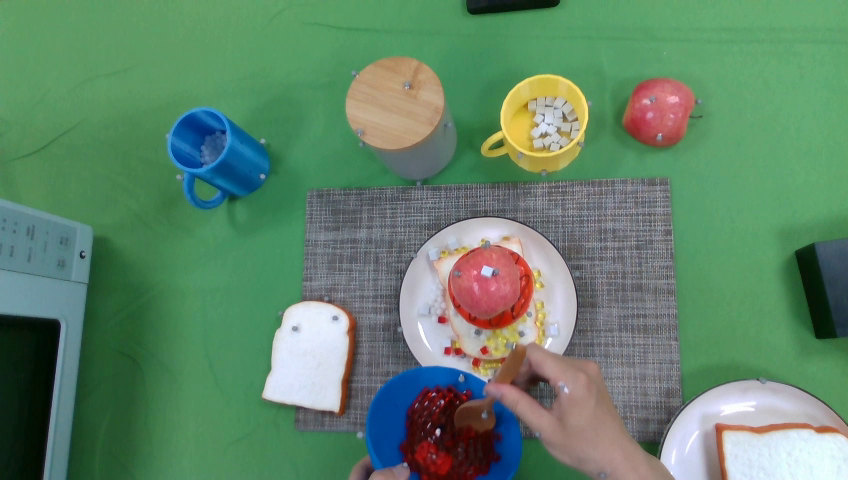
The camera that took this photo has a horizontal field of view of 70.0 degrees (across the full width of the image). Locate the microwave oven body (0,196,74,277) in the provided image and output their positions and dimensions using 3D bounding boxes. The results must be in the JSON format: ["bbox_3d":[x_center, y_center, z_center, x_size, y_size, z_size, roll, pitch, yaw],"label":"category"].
[{"bbox_3d":[-0.630,0.168,0.698,0.325,0.261,0.440,-1,80,10],"label":"microwave oven body"}]

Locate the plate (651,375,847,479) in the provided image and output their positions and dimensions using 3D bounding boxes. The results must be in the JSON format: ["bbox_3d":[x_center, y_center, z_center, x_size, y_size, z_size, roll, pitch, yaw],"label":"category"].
[{"bbox_3d":[0.344,0.246,0.632,0.209,0.038,0.208,-2,80,10],"label":"plate"}]

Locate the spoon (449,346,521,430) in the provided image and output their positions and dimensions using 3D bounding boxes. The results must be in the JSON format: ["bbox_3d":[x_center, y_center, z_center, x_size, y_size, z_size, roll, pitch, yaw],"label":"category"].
[{"bbox_3d":[0.057,0.138,0.545,0.041,0.195,0.021,17,59,0],"label":"spoon"}]

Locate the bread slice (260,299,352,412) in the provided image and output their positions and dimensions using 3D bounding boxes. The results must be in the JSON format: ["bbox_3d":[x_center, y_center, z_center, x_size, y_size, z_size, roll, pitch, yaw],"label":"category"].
[{"bbox_3d":[-0.143,0.138,0.745,0.104,0.019,0.131,7,83,10],"label":"bread slice"}]

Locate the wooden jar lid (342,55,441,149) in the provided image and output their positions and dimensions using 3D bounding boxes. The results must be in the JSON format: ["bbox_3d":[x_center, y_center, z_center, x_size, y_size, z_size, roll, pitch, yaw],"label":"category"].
[{"bbox_3d":[-0.034,-0.148,0.657,0.108,0.021,0.108,-2,78,7],"label":"wooden jar lid"}]

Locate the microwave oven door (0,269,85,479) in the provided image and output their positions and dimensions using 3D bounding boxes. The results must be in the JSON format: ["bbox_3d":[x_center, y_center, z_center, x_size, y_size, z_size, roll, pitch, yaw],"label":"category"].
[{"bbox_3d":[-0.488,0.207,0.661,0.039,0.245,0.354,-1,80,11],"label":"microwave oven door"}]

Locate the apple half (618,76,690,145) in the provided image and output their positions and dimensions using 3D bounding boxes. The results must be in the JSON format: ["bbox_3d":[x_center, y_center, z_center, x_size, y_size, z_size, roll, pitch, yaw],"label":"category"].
[{"bbox_3d":[0.270,-0.158,0.709,0.074,0.053,0.080,22,85,16],"label":"apple half"}]

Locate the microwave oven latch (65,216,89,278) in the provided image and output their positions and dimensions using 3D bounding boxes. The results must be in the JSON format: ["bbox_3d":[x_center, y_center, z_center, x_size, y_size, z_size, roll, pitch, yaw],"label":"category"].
[{"bbox_3d":[-0.465,0.009,0.796,0.030,0.029,0.079,3,81,10],"label":"microwave oven latch"}]

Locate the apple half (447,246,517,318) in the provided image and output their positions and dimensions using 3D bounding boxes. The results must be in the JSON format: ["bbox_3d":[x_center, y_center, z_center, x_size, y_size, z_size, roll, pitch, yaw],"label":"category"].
[{"bbox_3d":[0.061,0.043,0.648,0.081,0.033,0.081,-4,76,16],"label":"apple half"}]

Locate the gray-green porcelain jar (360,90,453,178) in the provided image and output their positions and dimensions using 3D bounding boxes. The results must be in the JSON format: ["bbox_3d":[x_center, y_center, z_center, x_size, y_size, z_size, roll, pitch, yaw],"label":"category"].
[{"bbox_3d":[-0.022,-0.136,0.719,0.105,0.127,0.105,-2,79,10],"label":"gray-green porcelain jar"}]

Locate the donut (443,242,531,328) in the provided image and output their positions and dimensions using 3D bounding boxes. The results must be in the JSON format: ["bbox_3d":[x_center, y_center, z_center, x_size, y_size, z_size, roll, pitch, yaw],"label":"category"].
[{"bbox_3d":[0.070,0.050,0.683,0.099,0.048,0.098,-2,81,11],"label":"donut"}]

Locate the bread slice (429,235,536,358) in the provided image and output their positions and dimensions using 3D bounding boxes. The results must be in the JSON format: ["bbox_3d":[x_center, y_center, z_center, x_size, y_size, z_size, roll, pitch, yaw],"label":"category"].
[{"bbox_3d":[0.076,0.069,0.708,0.107,0.018,0.133,-18,77,7],"label":"bread slice"}]

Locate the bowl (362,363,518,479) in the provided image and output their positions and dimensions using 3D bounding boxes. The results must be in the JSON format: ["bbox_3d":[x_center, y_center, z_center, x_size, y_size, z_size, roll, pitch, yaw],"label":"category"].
[{"bbox_3d":[0.010,0.205,0.595,0.152,0.077,0.150,8,39,-6],"label":"bowl"}]

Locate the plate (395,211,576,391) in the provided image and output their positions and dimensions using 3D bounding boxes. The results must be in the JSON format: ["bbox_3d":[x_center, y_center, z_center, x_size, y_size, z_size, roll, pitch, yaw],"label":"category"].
[{"bbox_3d":[0.070,0.071,0.707,0.207,0.039,0.207,-2,80,10],"label":"plate"}]

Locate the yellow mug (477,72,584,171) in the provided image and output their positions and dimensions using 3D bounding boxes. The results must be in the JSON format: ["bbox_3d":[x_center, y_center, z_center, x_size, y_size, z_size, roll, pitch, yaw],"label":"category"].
[{"bbox_3d":[0.124,-0.133,0.723,0.131,0.064,0.099,-23,77,6],"label":"yellow mug"}]

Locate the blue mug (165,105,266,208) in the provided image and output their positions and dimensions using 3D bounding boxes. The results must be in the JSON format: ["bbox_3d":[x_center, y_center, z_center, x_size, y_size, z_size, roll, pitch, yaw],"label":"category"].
[{"bbox_3d":[-0.266,-0.096,0.764,0.082,0.106,0.116,20,84,13],"label":"blue mug"}]
